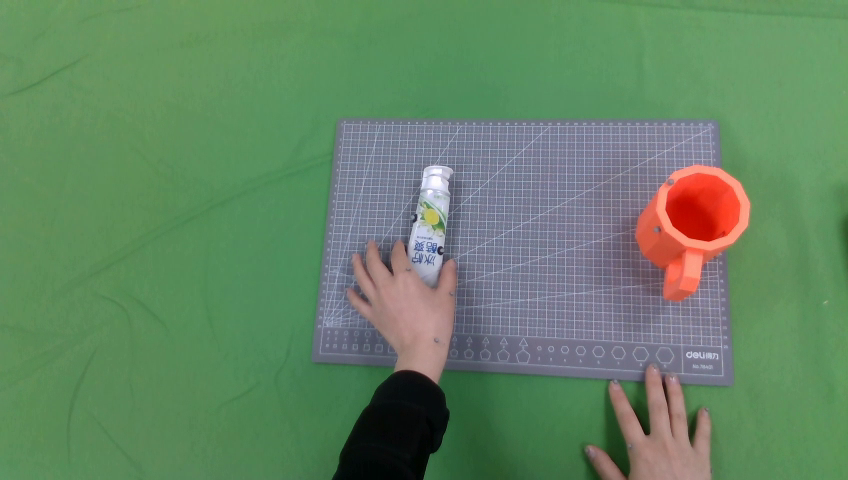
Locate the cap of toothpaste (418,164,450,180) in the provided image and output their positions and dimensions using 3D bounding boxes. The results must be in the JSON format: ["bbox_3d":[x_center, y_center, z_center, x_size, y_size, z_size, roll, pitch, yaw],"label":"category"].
[{"bbox_3d":[0.012,-0.077,0.698,0.037,0.037,0.011,-2,74,6],"label":"cap of toothpaste"}]

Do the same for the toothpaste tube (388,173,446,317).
[{"bbox_3d":[-0.003,0.002,0.686,0.055,0.035,0.164,6,80,14],"label":"toothpaste tube"}]

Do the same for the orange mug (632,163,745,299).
[{"bbox_3d":[0.265,-0.005,0.620,0.083,0.101,0.125,10,72,10],"label":"orange mug"}]
